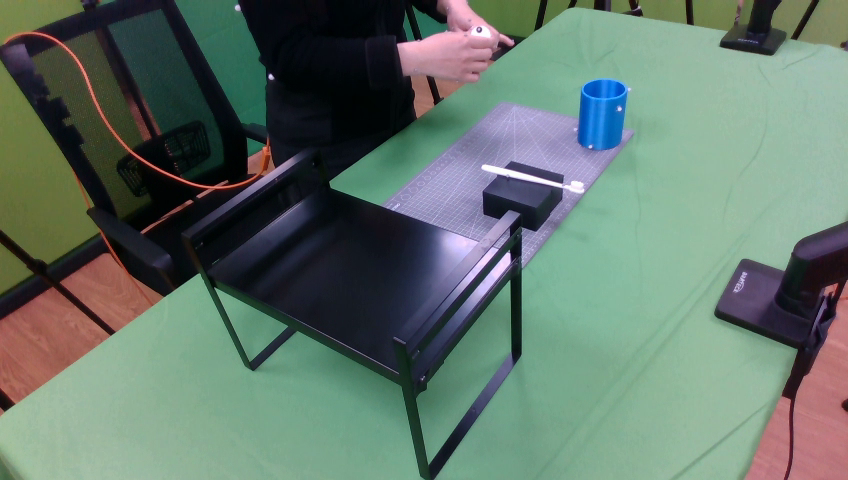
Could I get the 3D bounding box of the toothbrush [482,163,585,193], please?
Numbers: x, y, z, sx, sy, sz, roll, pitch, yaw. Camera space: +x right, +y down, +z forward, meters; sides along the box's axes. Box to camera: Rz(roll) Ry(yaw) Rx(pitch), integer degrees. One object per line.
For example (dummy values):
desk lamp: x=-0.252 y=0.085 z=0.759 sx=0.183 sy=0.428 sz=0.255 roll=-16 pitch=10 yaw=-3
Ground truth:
toothbrush: x=0.178 y=-0.105 z=0.997 sx=0.180 sy=0.017 sz=0.014 roll=17 pitch=52 yaw=26

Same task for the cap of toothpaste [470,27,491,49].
cap of toothpaste: x=0.097 y=-0.349 z=1.044 sx=0.037 sy=0.037 sz=0.011 roll=-5 pitch=16 yaw=3

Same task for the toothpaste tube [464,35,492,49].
toothpaste tube: x=0.103 y=-0.369 z=1.120 sx=0.055 sy=0.034 sz=0.165 roll=16 pitch=16 yaw=-2

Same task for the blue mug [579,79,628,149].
blue mug: x=0.336 y=-0.246 z=1.143 sx=0.082 sy=0.106 sz=0.116 roll=0 pitch=41 yaw=10
